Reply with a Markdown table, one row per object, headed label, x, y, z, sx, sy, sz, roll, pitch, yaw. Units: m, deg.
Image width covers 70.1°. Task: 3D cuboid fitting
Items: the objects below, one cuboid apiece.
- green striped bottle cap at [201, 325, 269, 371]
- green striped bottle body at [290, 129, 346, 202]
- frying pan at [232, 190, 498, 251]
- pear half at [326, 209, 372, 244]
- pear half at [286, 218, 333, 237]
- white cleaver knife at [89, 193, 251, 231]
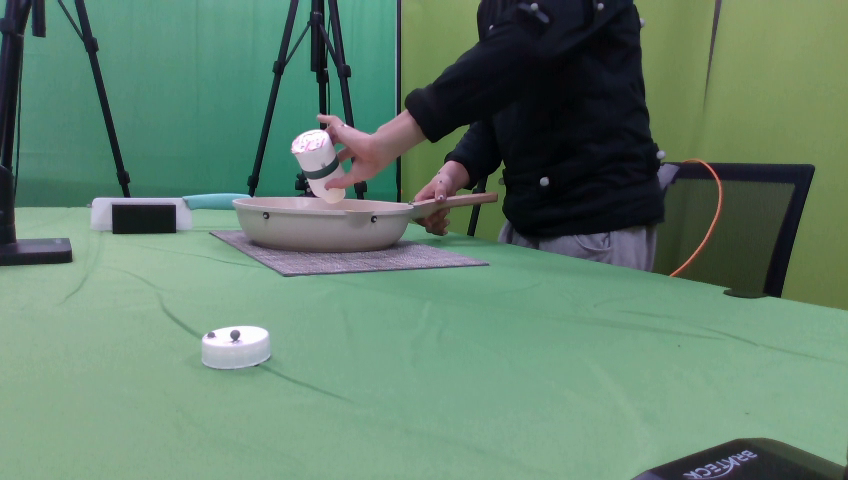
| label | x | y | z | sx | sy | sz | roll | pitch | yaw |
| --- | --- | --- | --- | --- | --- | --- | --- | --- | --- |
| green striped bottle cap | -0.129 | 0.073 | 0.415 | 0.044 | 0.020 | 0.044 | 2 | 8 | 0 |
| green striped bottle body | -0.171 | -0.119 | 1.003 | 0.063 | 0.119 | 0.063 | -10 | 44 | 10 |
| frying pan | -0.073 | -0.051 | 1.048 | 0.490 | 0.102 | 0.305 | -11 | 13 | -27 |
| pear half | -0.128 | -0.025 | 1.017 | 0.076 | 0.056 | 0.109 | 5 | 4 | -18 |
| pear half | -0.197 | -0.022 | 1.053 | 0.088 | 0.031 | 0.070 | -11 | 18 | -44 |
| white cleaver knife | -0.454 | -0.052 | 1.115 | 0.288 | 0.066 | 0.021 | -4 | 14 | -27 |
